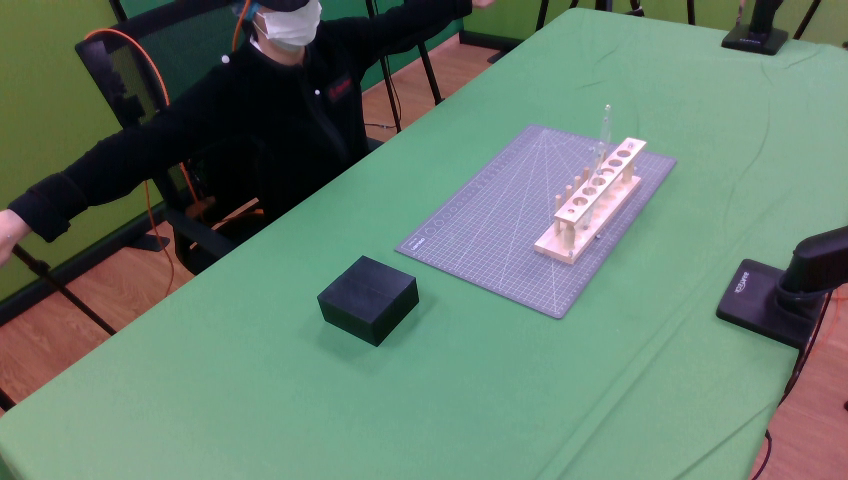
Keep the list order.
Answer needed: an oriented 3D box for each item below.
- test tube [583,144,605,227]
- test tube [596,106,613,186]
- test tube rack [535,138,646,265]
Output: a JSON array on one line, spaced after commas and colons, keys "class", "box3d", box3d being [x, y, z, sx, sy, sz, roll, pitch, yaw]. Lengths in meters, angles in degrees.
[{"class": "test tube", "box3d": [0.251, -0.077, 0.896, 0.017, 0.151, 0.017, -3, 43, 3]}, {"class": "test tube", "box3d": [0.294, -0.150, 0.984, 0.017, 0.151, 0.017, -5, 40, 4]}, {"class": "test tube rack", "box3d": [0.268, -0.071, 0.964, 0.066, 0.085, 0.243, 23, 49, 32]}]
